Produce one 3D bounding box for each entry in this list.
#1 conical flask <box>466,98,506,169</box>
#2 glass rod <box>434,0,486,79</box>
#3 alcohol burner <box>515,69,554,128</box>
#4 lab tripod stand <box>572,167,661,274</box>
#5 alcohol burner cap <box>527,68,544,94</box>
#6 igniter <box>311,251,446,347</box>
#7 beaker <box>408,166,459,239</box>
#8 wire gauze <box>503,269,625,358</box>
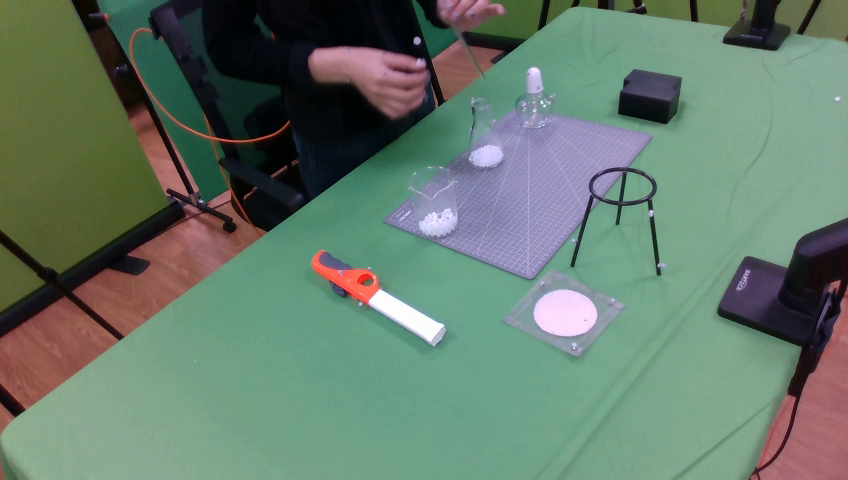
[{"bbox_3d":[0.111,-0.199,1.116,0.075,0.122,0.075,-5,40,5],"label":"conical flask"},{"bbox_3d":[0.047,-0.347,0.979,0.008,0.200,0.008,-33,10,7],"label":"glass rod"},{"bbox_3d":[0.221,-0.285,1.203,0.078,0.119,0.077,-4,39,4],"label":"alcohol burner"},{"bbox_3d":[0.283,-0.030,0.879,0.148,0.132,0.147,-7,38,6],"label":"lab tripod stand"},{"bbox_3d":[0.216,-0.312,1.179,0.034,0.048,0.033,-9,40,8],"label":"alcohol burner cap"},{"bbox_3d":[-0.078,0.081,0.899,0.274,0.025,0.057,27,62,35],"label":"igniter"},{"bbox_3d":[0.018,-0.058,0.984,0.074,0.101,0.083,-6,41,5],"label":"beaker"},{"bbox_3d":[0.194,0.100,0.840,0.120,0.011,0.125,27,54,36],"label":"wire gauze"}]
